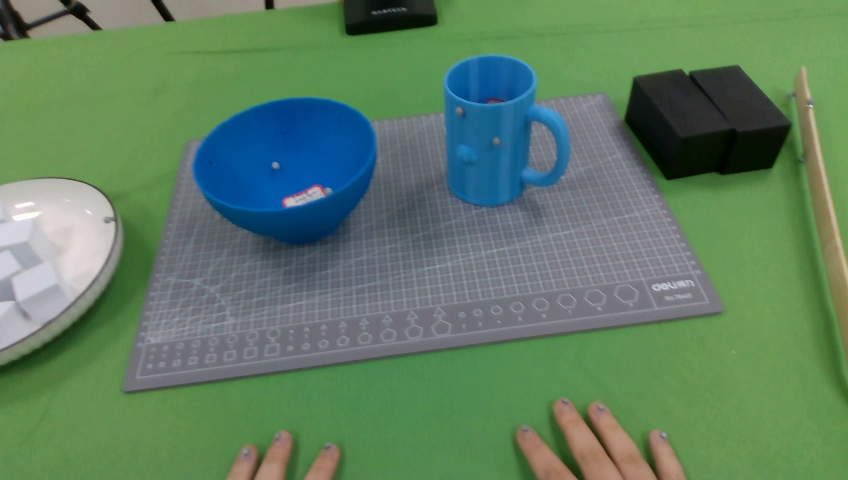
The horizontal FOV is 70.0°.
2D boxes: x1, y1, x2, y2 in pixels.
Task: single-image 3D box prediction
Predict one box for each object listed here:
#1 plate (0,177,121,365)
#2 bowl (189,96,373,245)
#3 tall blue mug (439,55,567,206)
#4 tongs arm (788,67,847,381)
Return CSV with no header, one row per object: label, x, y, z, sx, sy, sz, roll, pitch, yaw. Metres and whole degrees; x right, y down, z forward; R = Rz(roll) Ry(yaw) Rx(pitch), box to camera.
plate,-0.356,0.029,0.502,0.209,0.038,0.207,-1,47,2
bowl,-0.115,-0.049,0.525,0.151,0.077,0.150,-2,47,2
tall blue mug,0.069,-0.094,0.532,0.107,0.109,0.077,2,47,6
tongs arm,0.346,-0.028,0.504,0.050,0.027,0.382,15,50,10
